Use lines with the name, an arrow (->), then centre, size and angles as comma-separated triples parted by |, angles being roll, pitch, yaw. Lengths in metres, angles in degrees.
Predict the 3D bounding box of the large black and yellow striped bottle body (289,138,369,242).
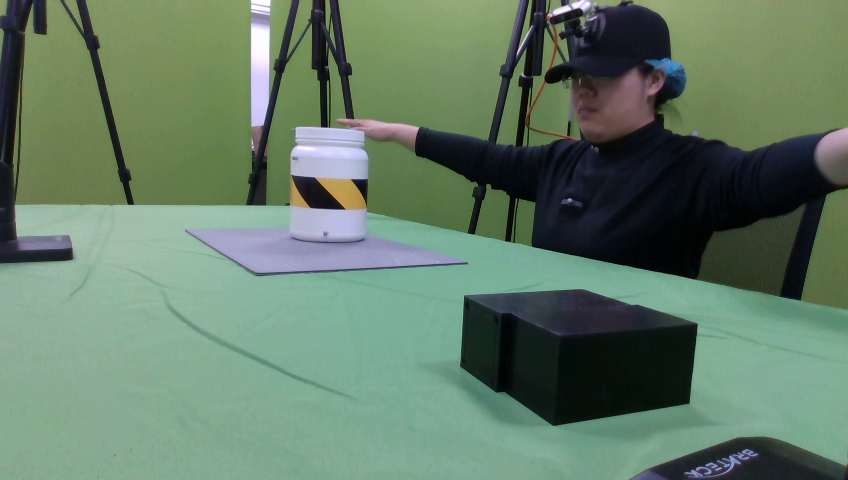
large black and yellow striped bottle body -> -0.161, -0.094, 1.026 | 0.131, 0.184, 0.130 | 3, 8, 0

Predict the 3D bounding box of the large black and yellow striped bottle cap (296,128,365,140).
large black and yellow striped bottle cap -> -0.156, -0.177, 1.014 | 0.115, 0.019, 0.115 | 1, 7, 0
